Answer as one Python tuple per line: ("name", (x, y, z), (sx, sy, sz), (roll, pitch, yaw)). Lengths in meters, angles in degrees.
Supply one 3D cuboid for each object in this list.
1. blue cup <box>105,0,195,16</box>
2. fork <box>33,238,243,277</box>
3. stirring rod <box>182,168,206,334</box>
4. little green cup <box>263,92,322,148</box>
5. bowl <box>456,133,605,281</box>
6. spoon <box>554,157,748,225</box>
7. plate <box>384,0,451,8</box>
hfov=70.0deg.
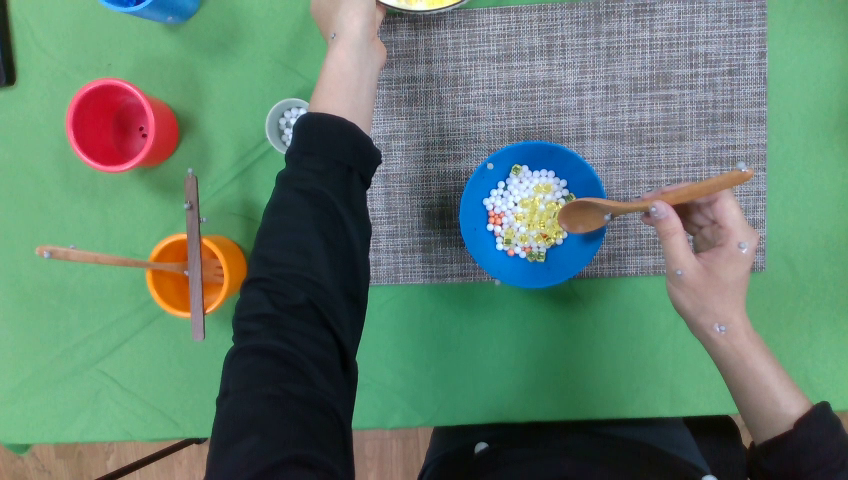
("blue cup", (-0.287, -0.277, 0.631), (0.092, 0.100, 0.093), (1, 98, 5))
("fork", (-0.294, 0.018, 0.644), (0.209, 0.018, 0.028), (10, 102, -41))
("stirring rod", (-0.242, 0.013, 0.637), (0.014, 0.006, 0.176), (-1, 96, 6))
("little green cup", (-0.143, -0.131, 0.673), (0.061, 0.038, 0.061), (0, 97, 4))
("bowl", (0.109, -0.036, 0.645), (0.151, 0.076, 0.151), (0, 97, 4))
("spoon", (0.183, -0.039, 0.516), (0.042, 0.193, 0.021), (43, 66, -18))
("plate", (-0.005, -0.350, 0.637), (0.209, 0.038, 0.209), (0, 98, 3))
